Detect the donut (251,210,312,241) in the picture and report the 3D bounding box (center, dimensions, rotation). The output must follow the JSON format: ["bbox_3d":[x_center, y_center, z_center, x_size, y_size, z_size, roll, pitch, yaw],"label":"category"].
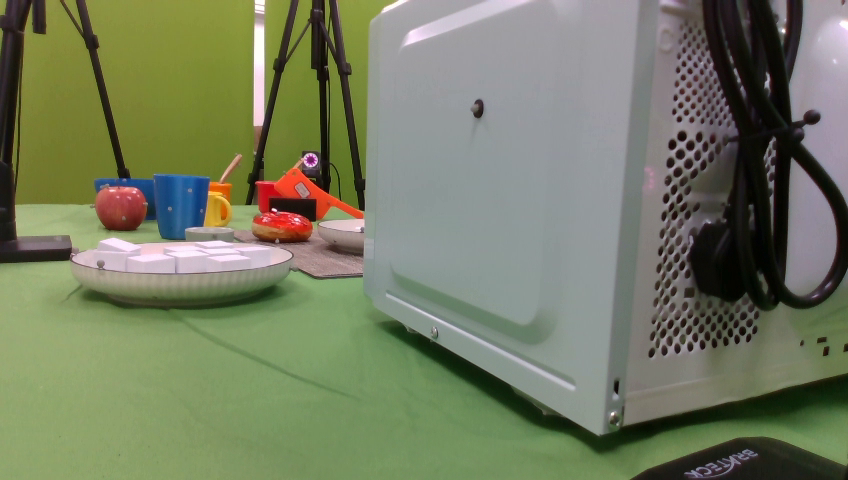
[{"bbox_3d":[-0.231,-0.022,0.983,0.099,0.048,0.099,5,7,0],"label":"donut"}]

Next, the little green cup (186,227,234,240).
[{"bbox_3d":[-0.284,0.005,0.805,0.061,0.038,0.061,2,8,0],"label":"little green cup"}]

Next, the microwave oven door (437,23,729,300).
[{"bbox_3d":[0.181,-0.072,0.621,0.358,0.243,0.039,-2,9,-29],"label":"microwave oven door"}]

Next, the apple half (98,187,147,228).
[{"bbox_3d":[-0.534,-0.059,1.071,0.082,0.081,0.032,-1,12,-25],"label":"apple half"}]

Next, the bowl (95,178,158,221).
[{"bbox_3d":[-0.576,-0.081,1.217,0.151,0.077,0.151,3,8,0],"label":"bowl"}]

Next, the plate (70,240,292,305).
[{"bbox_3d":[-0.242,0.031,0.618,0.208,0.039,0.207,2,8,0],"label":"plate"}]

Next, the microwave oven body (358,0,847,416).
[{"bbox_3d":[0.211,-0.047,0.474,0.444,0.260,0.324,-1,8,-28],"label":"microwave oven body"}]

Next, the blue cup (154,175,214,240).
[{"bbox_3d":[-0.390,-0.053,0.978,0.093,0.100,0.092,3,6,0],"label":"blue cup"}]

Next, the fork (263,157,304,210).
[{"bbox_3d":[-0.345,-0.143,1.505,0.028,0.019,0.207,-4,46,29],"label":"fork"}]

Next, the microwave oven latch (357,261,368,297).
[{"bbox_3d":[-0.019,0.033,0.531,0.079,0.029,0.030,-1,7,-27],"label":"microwave oven latch"}]

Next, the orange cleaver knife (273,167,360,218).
[{"bbox_3d":[-0.238,-0.091,1.381,0.212,0.077,0.012,31,0,-19],"label":"orange cleaver knife"}]

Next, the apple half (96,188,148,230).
[{"bbox_3d":[-0.517,-0.052,1.036,0.081,0.074,0.053,2,10,-26],"label":"apple half"}]

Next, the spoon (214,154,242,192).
[{"bbox_3d":[-0.439,-0.124,1.318,0.041,0.193,0.022,5,-37,16],"label":"spoon"}]

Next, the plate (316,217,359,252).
[{"bbox_3d":[-0.064,-0.008,0.943,0.209,0.038,0.209,3,8,0],"label":"plate"}]

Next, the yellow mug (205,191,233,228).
[{"bbox_3d":[-0.415,-0.057,1.132,0.130,0.064,0.100,6,8,16],"label":"yellow mug"}]
